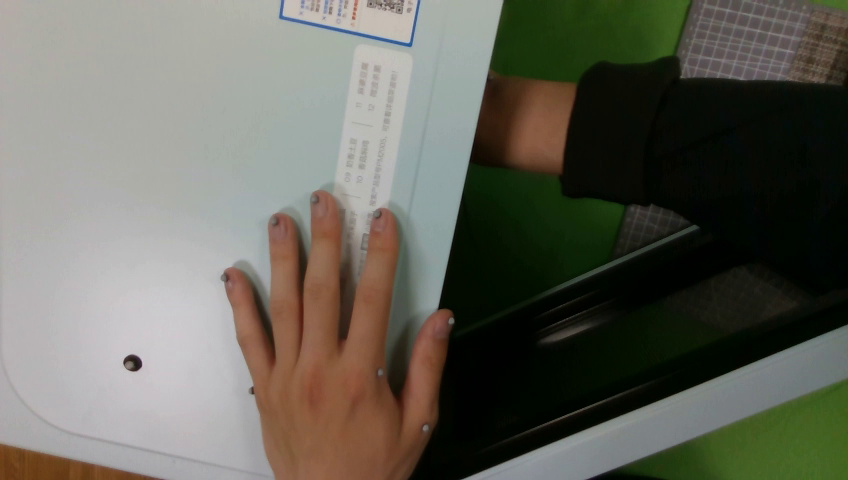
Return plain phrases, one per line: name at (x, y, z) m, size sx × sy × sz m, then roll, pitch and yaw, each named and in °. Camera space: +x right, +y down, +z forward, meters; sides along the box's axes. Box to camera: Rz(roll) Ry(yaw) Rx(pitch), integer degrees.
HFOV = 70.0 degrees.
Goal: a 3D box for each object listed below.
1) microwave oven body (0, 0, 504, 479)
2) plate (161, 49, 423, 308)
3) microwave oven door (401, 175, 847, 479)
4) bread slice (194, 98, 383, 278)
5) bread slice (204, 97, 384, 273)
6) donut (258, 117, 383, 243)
microwave oven body at (-0.101, -0.094, 0.432) m, size 0.326 × 0.259 × 0.443 m, roll 11°, pitch 106°, yaw 1°
plate at (-0.104, -0.047, 0.497) m, size 0.208 × 0.039 × 0.208 m, roll 0°, pitch 106°, yaw 0°
microwave oven door at (0.152, 0.065, 0.451) m, size 0.356 × 0.243 × 0.039 m, roll -27°, pitch 101°, yaw 11°
bread slice at (-0.102, -0.041, 0.435) m, size 0.134 × 0.018 × 0.107 m, roll 18°, pitch 109°, yaw 10°
bread slice at (-0.115, -0.048, 0.495) m, size 0.132 × 0.019 × 0.105 m, roll 38°, pitch 105°, yaw -5°
donut at (-0.081, -0.046, 0.472) m, size 0.099 × 0.048 × 0.099 m, roll 0°, pitch 102°, yaw 1°
